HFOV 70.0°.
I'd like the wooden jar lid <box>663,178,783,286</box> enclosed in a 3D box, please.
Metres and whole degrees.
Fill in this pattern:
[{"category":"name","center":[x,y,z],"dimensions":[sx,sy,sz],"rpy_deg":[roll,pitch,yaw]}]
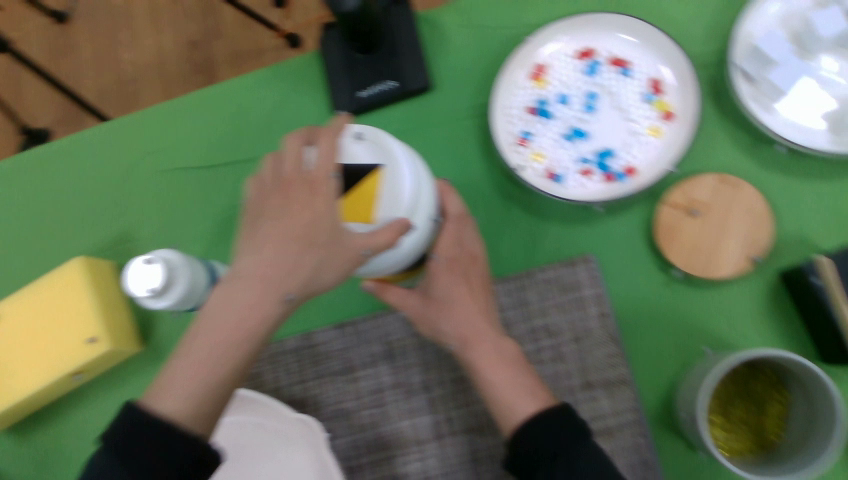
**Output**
[{"category":"wooden jar lid","center":[0.295,-0.007,0.602],"dimensions":[0.108,0.021,0.108],"rpy_deg":[-2,82,12]}]

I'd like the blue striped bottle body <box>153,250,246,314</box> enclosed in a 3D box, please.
[{"category":"blue striped bottle body","center":[-0.249,0.046,0.654],"dimensions":[0.063,0.121,0.063],"rpy_deg":[-2,80,12]}]

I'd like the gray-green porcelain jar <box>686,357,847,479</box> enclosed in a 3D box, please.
[{"category":"gray-green porcelain jar","center":[0.289,0.154,0.521],"dimensions":[0.105,0.127,0.105],"rpy_deg":[-2,79,12]}]

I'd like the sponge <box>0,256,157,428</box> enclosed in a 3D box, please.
[{"category":"sponge","center":[-0.433,0.122,0.710],"dimensions":[0.207,0.061,0.117],"rpy_deg":[-29,76,5]}]

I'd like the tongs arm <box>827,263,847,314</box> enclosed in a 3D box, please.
[{"category":"tongs arm","center":[0.436,0.192,0.501],"dimensions":[0.051,0.026,0.384],"rpy_deg":[-21,87,6]}]

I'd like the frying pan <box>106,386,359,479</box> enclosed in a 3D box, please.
[{"category":"frying pan","center":[-0.121,0.363,0.578],"dimensions":[0.307,0.103,0.483],"rpy_deg":[-46,67,2]}]

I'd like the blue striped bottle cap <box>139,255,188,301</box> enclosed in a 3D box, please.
[{"category":"blue striped bottle cap","center":[-0.260,0.038,0.604],"dimensions":[0.044,0.021,0.044],"rpy_deg":[-2,78,9]}]

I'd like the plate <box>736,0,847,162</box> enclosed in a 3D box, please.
[{"category":"plate","center":[0.416,-0.173,0.595],"dimensions":[0.207,0.039,0.207],"rpy_deg":[-2,80,12]}]

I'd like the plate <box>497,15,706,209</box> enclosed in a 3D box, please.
[{"category":"plate","center":[0.182,-0.132,0.638],"dimensions":[0.209,0.038,0.208],"rpy_deg":[-2,80,12]}]

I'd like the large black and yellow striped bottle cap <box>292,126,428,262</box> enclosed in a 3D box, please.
[{"category":"large black and yellow striped bottle cap","center":[-0.054,-0.039,0.508],"dimensions":[0.115,0.019,0.114],"rpy_deg":[-2,82,11]}]

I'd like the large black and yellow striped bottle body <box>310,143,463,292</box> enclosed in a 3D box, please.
[{"category":"large black and yellow striped bottle body","center":[-0.038,-0.022,0.589],"dimensions":[0.130,0.185,0.130],"rpy_deg":[-2,79,12]}]
